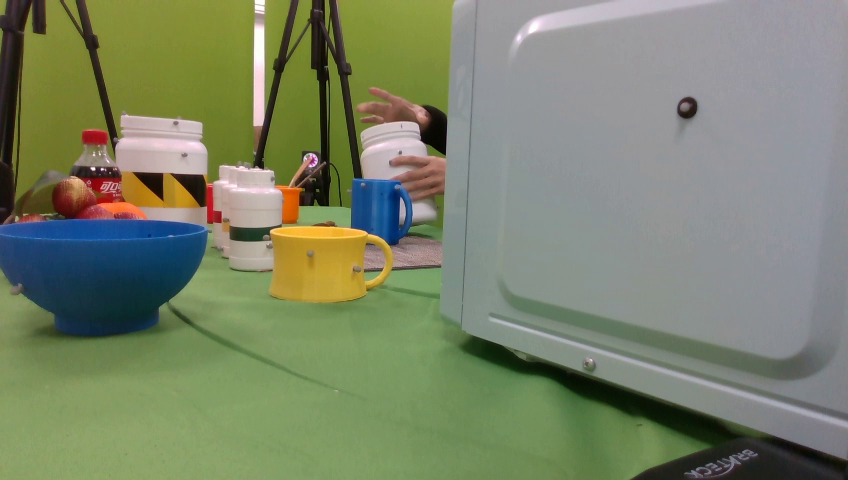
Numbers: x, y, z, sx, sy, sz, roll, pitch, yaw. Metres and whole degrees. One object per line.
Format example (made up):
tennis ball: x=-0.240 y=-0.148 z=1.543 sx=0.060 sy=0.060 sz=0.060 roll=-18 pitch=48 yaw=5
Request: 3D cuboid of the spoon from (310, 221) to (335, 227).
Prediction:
spoon: x=-0.185 y=-0.027 z=1.131 sx=0.041 sy=0.021 sz=0.193 roll=-18 pitch=6 yaw=2

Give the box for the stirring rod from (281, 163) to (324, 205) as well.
stirring rod: x=-0.278 y=-0.105 z=1.293 sx=0.176 sy=0.006 sz=0.014 roll=-47 pitch=25 yaw=-19

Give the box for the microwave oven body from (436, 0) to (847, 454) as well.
microwave oven body: x=0.279 y=-0.040 z=0.464 sx=0.444 sy=0.260 sz=0.324 roll=-3 pitch=9 yaw=-41

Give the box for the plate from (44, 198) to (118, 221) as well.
plate: x=-0.617 y=-0.056 z=1.179 sx=0.209 sy=0.038 sz=0.209 roll=3 pitch=7 yaw=0

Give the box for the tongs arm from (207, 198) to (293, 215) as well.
tongs arm: x=-0.423 y=-0.084 z=1.472 sx=0.050 sy=0.026 sz=0.386 roll=1 pitch=6 yaw=21

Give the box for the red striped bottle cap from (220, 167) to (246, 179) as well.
red striped bottle cap: x=-0.281 y=-0.099 z=0.901 sx=0.044 sy=0.017 sz=0.044 roll=-1 pitch=5 yaw=0

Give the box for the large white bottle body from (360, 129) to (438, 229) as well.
large white bottle body: x=-0.051 y=-0.118 z=1.155 sx=0.131 sy=0.184 sz=0.130 roll=-10 pitch=-3 yaw=0

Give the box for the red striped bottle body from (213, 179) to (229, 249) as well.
red striped bottle body: x=-0.284 y=-0.048 z=0.909 sx=0.063 sy=0.119 sz=0.063 roll=3 pitch=10 yaw=0

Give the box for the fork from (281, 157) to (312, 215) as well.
fork: x=-0.289 y=-0.116 z=1.321 sx=0.028 sy=0.019 sz=0.207 roll=6 pitch=51 yaw=19

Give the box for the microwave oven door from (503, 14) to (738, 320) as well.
microwave oven door: x=0.218 y=-0.065 z=0.600 sx=0.358 sy=0.243 sz=0.039 roll=-4 pitch=10 yaw=-41

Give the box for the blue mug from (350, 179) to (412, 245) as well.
blue mug: x=-0.068 y=-0.046 z=1.000 sx=0.116 sy=0.106 sz=0.083 roll=8 pitch=9 yaw=32

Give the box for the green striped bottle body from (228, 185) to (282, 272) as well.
green striped bottle body: x=-0.208 y=-0.023 z=0.745 sx=0.063 sy=0.119 sz=0.063 roll=2 pitch=7 yaw=0

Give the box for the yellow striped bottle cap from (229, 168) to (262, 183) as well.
yellow striped bottle cap: x=-0.240 y=-0.087 z=0.816 sx=0.044 sy=0.018 sz=0.044 roll=-3 pitch=5 yaw=1

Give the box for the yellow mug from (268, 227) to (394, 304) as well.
yellow mug: x=-0.094 y=0.023 z=0.630 sx=0.131 sy=0.064 sz=0.099 roll=0 pitch=8 yaw=-22

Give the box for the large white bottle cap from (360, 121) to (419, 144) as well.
large white bottle cap: x=-0.066 y=-0.203 z=1.158 sx=0.115 sy=0.018 sz=0.115 roll=-10 pitch=-3 yaw=0

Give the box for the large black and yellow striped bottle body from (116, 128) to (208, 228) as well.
large black and yellow striped bottle body: x=-0.404 y=-0.089 z=0.937 sx=0.131 sy=0.184 sz=0.130 roll=3 pitch=7 yaw=0

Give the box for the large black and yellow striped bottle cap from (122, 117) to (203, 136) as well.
large black and yellow striped bottle cap: x=-0.399 y=-0.174 z=0.927 sx=0.115 sy=0.019 sz=0.115 roll=5 pitch=9 yaw=-1

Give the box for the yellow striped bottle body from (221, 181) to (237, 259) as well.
yellow striped bottle body: x=-0.244 y=-0.035 z=0.824 sx=0.063 sy=0.120 sz=0.063 roll=2 pitch=8 yaw=0

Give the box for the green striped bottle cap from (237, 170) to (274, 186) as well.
green striped bottle cap: x=-0.205 y=-0.075 z=0.737 sx=0.044 sy=0.020 sz=0.044 roll=1 pitch=6 yaw=0

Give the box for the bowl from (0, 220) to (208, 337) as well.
bowl: x=-0.251 y=0.029 z=0.479 sx=0.151 sy=0.077 sz=0.151 roll=2 pitch=7 yaw=0

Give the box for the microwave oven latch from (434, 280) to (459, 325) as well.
microwave oven latch: x=0.044 y=0.045 z=0.470 sx=0.079 sy=0.029 sz=0.030 roll=-2 pitch=8 yaw=-39

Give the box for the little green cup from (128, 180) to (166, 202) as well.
little green cup: x=-0.485 y=-0.087 z=1.062 sx=0.061 sy=0.038 sz=0.061 roll=-1 pitch=6 yaw=0

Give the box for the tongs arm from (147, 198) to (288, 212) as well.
tongs arm: x=-0.503 y=-0.090 z=1.513 sx=0.028 sy=0.028 sz=0.389 roll=-1 pitch=3 yaw=38
